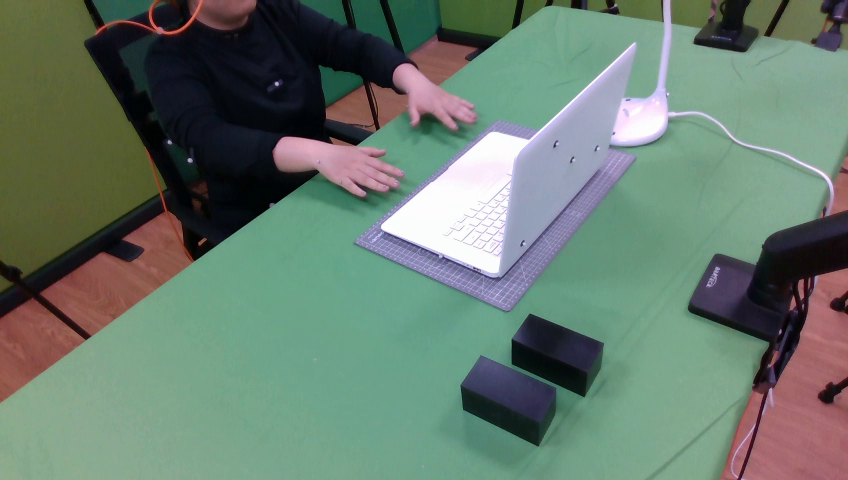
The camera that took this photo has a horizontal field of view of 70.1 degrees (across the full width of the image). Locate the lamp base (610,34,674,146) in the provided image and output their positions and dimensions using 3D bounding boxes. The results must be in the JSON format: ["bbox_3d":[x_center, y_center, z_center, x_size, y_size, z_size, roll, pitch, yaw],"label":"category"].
[{"bbox_3d":[0.392,-0.291,1.129,0.180,0.181,0.159,-11,41,-8],"label":"lamp base"}]

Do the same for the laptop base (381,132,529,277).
[{"bbox_3d":[0.122,-0.077,1.043,0.233,0.023,0.355,20,47,33],"label":"laptop base"}]

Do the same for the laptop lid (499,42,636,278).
[{"bbox_3d":[0.217,-0.122,0.898,0.013,0.242,0.358,28,50,25],"label":"laptop lid"}]
